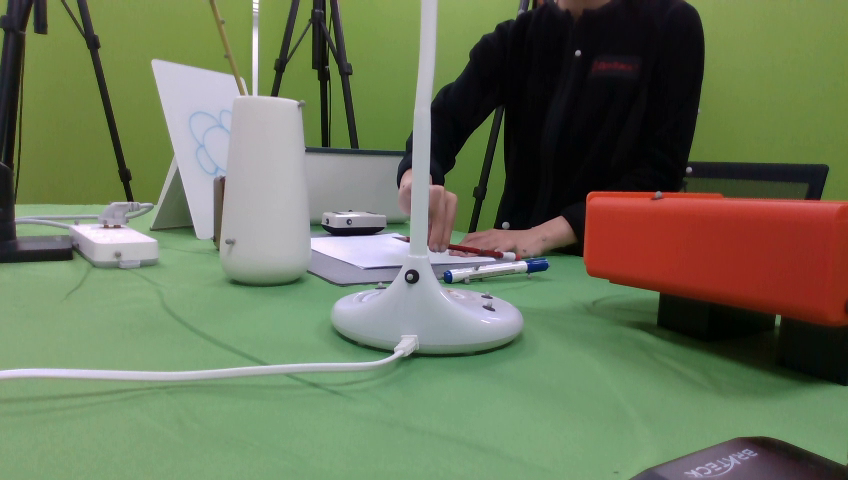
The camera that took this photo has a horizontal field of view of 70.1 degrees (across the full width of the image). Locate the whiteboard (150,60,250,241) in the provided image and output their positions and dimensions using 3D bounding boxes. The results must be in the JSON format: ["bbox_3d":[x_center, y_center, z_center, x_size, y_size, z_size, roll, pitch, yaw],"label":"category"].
[{"bbox_3d":[-0.408,-0.139,1.093,0.143,0.305,0.218,-15,-1,26],"label":"whiteboard"}]

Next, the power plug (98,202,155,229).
[{"bbox_3d":[-0.416,-0.026,0.848,0.073,0.052,0.035,0,8,-28],"label":"power plug"}]

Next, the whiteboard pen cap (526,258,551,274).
[{"bbox_3d":[0.141,0.033,0.759,0.033,0.018,0.018,-7,11,-26],"label":"whiteboard pen cap"}]

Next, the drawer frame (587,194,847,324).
[{"bbox_3d":[0.285,0.004,0.508,0.203,0.082,0.212,-1,6,-30],"label":"drawer frame"}]

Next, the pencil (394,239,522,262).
[{"bbox_3d":[0.048,0.013,0.790,0.195,0.012,0.012,8,4,-27],"label":"pencil"}]

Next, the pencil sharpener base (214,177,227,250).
[{"bbox_3d":[-0.265,-0.036,0.870,0.061,0.107,0.076,-2,8,-29],"label":"pencil sharpener base"}]

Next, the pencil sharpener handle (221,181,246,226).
[{"bbox_3d":[-0.289,-0.055,0.912,0.036,0.067,0.030,-3,9,-29],"label":"pencil sharpener handle"}]

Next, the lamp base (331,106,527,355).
[{"bbox_3d":[0.006,-0.012,0.478,0.161,0.180,0.179,2,10,2],"label":"lamp base"}]

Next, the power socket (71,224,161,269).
[{"bbox_3d":[-0.408,0.004,0.793,0.072,0.032,0.225,-2,8,-38],"label":"power socket"}]

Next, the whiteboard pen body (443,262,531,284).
[{"bbox_3d":[0.087,0.038,0.734,0.141,0.017,0.017,-5,10,-27],"label":"whiteboard pen body"}]

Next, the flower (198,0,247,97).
[{"bbox_3d":[-0.187,-0.133,0.648,0.038,0.362,0.044,-1,22,43],"label":"flower"}]

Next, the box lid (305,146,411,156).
[{"bbox_3d":[-0.229,-0.200,1.360,0.373,0.015,0.262,-3,9,-33],"label":"box lid"}]

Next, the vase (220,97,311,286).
[{"bbox_3d":[-0.172,-0.052,0.662,0.098,0.200,0.098,3,8,0],"label":"vase"}]

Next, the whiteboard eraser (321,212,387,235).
[{"bbox_3d":[-0.128,-0.031,1.108,0.113,0.042,0.055,-3,8,-38],"label":"whiteboard eraser"}]

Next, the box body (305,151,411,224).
[{"bbox_3d":[-0.230,-0.126,1.371,0.366,0.160,0.253,-2,8,-33],"label":"box body"}]

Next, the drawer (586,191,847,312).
[{"bbox_3d":[0.281,0.001,0.512,0.195,0.073,0.210,-1,8,-29],"label":"drawer"}]
